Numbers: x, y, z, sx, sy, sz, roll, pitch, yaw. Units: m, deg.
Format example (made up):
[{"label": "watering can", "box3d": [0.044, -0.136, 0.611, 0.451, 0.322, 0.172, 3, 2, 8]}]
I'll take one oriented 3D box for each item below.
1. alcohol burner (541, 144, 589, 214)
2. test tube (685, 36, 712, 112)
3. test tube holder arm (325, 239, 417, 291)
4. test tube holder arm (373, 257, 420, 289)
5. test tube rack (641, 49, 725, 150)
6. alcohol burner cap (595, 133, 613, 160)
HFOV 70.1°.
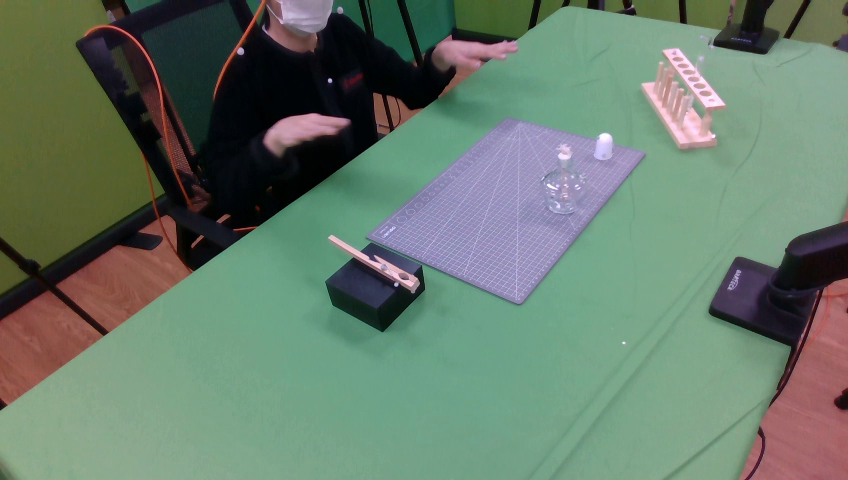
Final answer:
[{"label": "alcohol burner", "box3d": [0.229, -0.102, 0.983, 0.078, 0.119, 0.077, -6, 41, 5]}, {"label": "test tube", "box3d": [0.509, -0.307, 1.129, 0.017, 0.151, 0.017, -1, 43, 2]}, {"label": "test tube holder arm", "box3d": [-0.080, 0.034, 0.875, 0.177, 0.015, 0.013, 22, 50, 32]}, {"label": "test tube holder arm", "box3d": [-0.042, 0.045, 0.854, 0.087, 0.015, 0.010, 24, 51, 33]}, {"label": "test tube rack", "box3d": [0.495, -0.279, 1.175, 0.067, 0.085, 0.241, -5, 41, 3]}, {"label": "alcohol burner cap", "box3d": [0.330, -0.172, 1.104, 0.034, 0.048, 0.033, -5, 41, 5]}]
